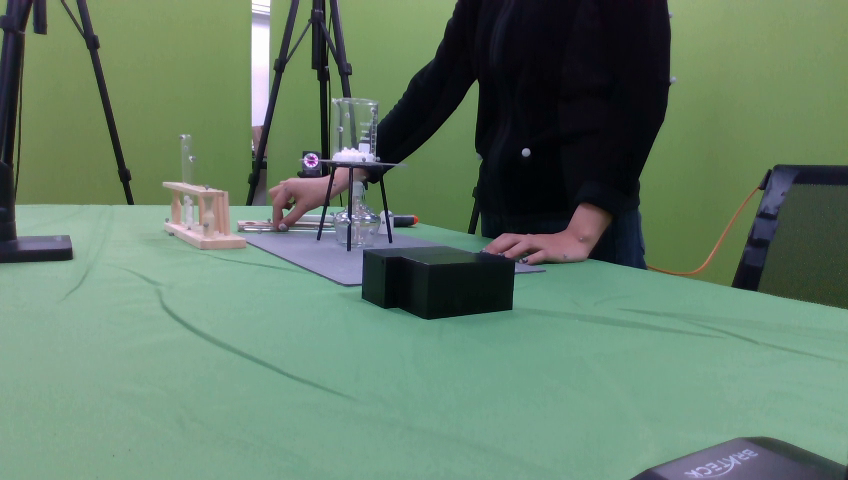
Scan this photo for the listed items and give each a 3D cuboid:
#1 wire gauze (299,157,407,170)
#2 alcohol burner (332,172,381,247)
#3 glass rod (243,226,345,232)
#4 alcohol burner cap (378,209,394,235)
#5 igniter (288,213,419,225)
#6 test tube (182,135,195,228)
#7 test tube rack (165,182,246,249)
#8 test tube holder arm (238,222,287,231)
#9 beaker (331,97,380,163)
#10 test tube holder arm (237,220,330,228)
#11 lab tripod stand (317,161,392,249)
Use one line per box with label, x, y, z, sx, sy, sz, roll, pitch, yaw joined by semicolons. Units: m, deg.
wire gauze;-0.112;-0.124;0.959;0.121;0.011;0.126;13;12;40
alcohol burner;-0.107;-0.048;0.961;0.078;0.119;0.078;1;9;0
glass rod;-0.235;-0.019;1.112;0.201;0.008;0.008;1;6;-37
alcohol burner cap;-0.072;-0.035;1.145;0.034;0.048;0.034;2;7;0
igniter;-0.144;-0.044;1.277;0.278;0.025;0.057;-1;-2;-22
test tube;-0.382;-0.095;0.983;0.017;0.150;0.017;-1;2;0
test tube rack;-0.360;-0.045;0.982;0.067;0.085;0.241;-3;9;-34
test tube holder arm;-0.297;-0.024;1.113;0.088;0.015;0.010;-2;44;-33
beaker;-0.111;-0.171;0.950;0.073;0.100;0.084;12;12;42
test tube holder arm;-0.261;-0.029;1.141;0.179;0.015;0.013;-3;44;-33
lab tripod stand;-0.111;-0.059;0.964;0.148;0.131;0.148;4;8;0
